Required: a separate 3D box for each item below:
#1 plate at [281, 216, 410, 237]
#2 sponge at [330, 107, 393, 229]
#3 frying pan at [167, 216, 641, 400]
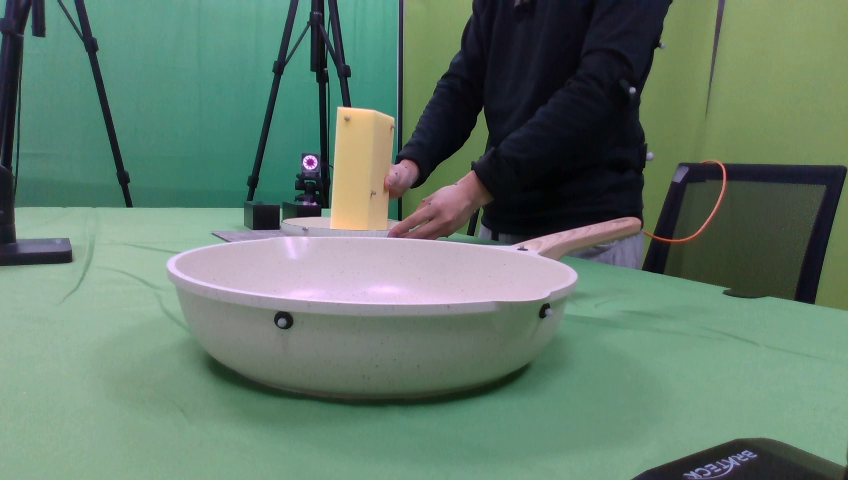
[{"bbox_3d":[-0.126,-0.012,0.986,0.208,0.039,0.207,2,7,0],"label":"plate"},{"bbox_3d":[-0.099,-0.102,0.971,0.061,0.206,0.118,6,8,11],"label":"sponge"},{"bbox_3d":[0.046,0.024,0.519,0.490,0.102,0.305,-14,16,-37],"label":"frying pan"}]
